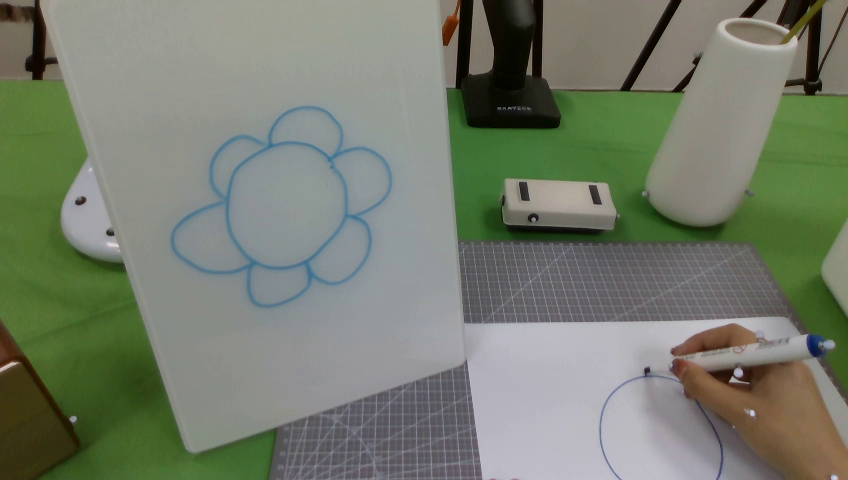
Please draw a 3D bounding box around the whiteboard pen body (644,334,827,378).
[{"bbox_3d":[0.217,0.088,0.439,0.017,0.140,0.017,12,66,-29],"label":"whiteboard pen body"}]

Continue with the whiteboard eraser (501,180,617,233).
[{"bbox_3d":[0.137,-0.033,0.624,0.113,0.042,0.055,1,40,-1],"label":"whiteboard eraser"}]

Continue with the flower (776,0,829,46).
[{"bbox_3d":[0.306,-0.160,0.536,0.044,0.363,0.038,-18,64,-31],"label":"flower"}]

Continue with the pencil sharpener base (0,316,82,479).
[{"bbox_3d":[-0.283,0.102,0.393,0.076,0.108,0.061,34,51,30],"label":"pencil sharpener base"}]

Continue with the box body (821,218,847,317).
[{"bbox_3d":[0.502,0.087,0.426,0.254,0.162,0.360,1,42,-2],"label":"box body"}]

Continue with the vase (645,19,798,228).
[{"bbox_3d":[0.293,-0.108,0.600,0.098,0.201,0.097,3,42,-2],"label":"vase"}]

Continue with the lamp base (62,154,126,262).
[{"bbox_3d":[-0.279,-0.097,0.561,0.177,0.182,0.160,29,47,28],"label":"lamp base"}]

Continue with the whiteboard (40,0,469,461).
[{"bbox_3d":[-0.101,-0.033,0.452,0.218,0.307,0.142,-14,25,-17],"label":"whiteboard"}]
